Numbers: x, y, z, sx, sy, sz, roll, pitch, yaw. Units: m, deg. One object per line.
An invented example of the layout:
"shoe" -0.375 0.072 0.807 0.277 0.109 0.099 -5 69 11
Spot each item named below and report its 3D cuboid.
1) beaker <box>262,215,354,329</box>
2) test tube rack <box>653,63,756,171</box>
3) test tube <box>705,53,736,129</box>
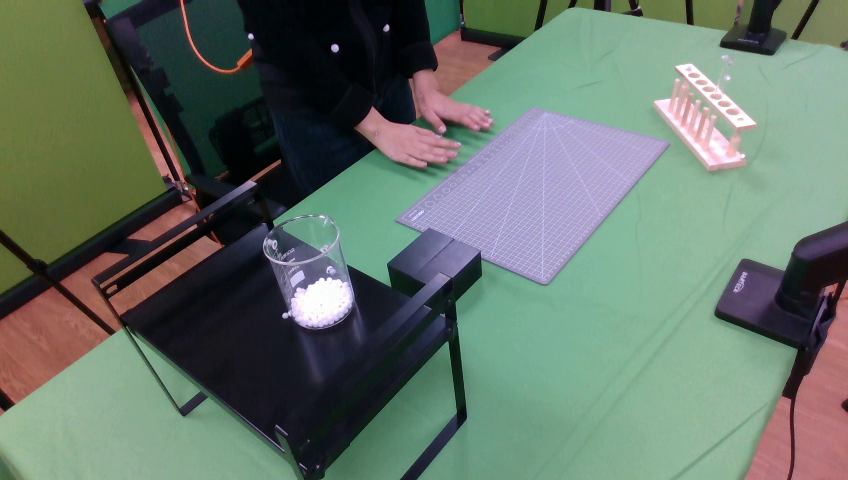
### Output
"beaker" -0.112 0.034 0.616 0.073 0.101 0.084 13 44 23
"test tube rack" 0.510 -0.233 1.120 0.067 0.085 0.241 -9 41 -1
"test tube" 0.525 -0.260 1.074 0.017 0.151 0.017 -3 44 3
